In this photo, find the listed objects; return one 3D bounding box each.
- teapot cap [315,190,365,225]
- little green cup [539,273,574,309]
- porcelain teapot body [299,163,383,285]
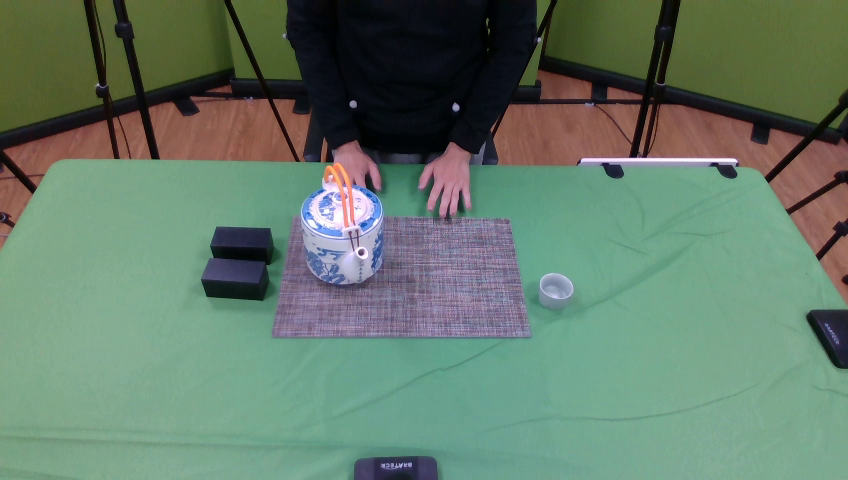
[{"bbox_3d":[-0.145,-0.061,1.046,0.085,0.044,0.084,1,49,-1],"label":"teapot cap"},{"bbox_3d":[0.240,0.096,1.113,0.061,0.039,0.061,2,47,-2],"label":"little green cup"},{"bbox_3d":[-0.134,-0.014,1.057,0.145,0.226,0.204,-16,50,-19],"label":"porcelain teapot body"}]
